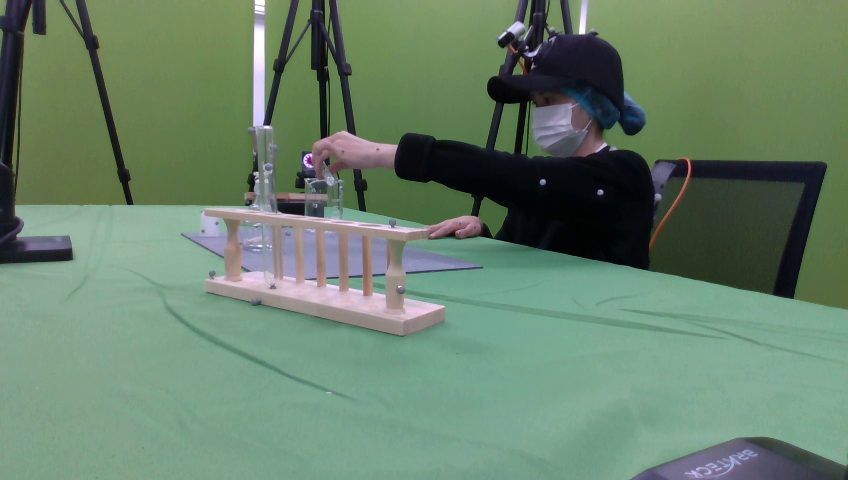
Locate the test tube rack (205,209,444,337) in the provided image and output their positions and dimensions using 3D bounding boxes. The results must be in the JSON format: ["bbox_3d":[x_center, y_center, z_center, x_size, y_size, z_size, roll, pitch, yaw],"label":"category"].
[{"bbox_3d":[-0.100,0.021,0.565,0.241,0.085,0.067,7,8,32],"label":"test tube rack"}]

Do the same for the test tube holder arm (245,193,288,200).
[{"bbox_3d":[-0.317,-0.088,1.226,0.088,0.015,0.010,-3,0,-37],"label":"test tube holder arm"}]

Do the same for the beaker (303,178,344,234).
[{"bbox_3d":[-0.189,-0.063,1.119,0.073,0.100,0.084,7,9,28],"label":"beaker"}]

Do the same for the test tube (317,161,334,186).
[{"bbox_3d":[-0.168,-0.114,1.024,0.017,0.017,0.150,1,17,-16],"label":"test tube"}]

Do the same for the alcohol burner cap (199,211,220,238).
[{"bbox_3d":[-0.356,-0.027,1.002,0.034,0.048,0.034,2,7,0],"label":"alcohol burner cap"}]

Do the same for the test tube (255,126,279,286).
[{"bbox_3d":[-0.147,-0.031,0.567,0.017,0.150,0.017,-1,8,0],"label":"test tube"}]

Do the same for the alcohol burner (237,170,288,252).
[{"bbox_3d":[-0.236,-0.042,0.882,0.078,0.119,0.078,2,9,0],"label":"alcohol burner"}]

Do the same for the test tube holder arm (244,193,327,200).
[{"bbox_3d":[-0.284,-0.090,1.258,0.179,0.015,0.013,-3,0,-37],"label":"test tube holder arm"}]
